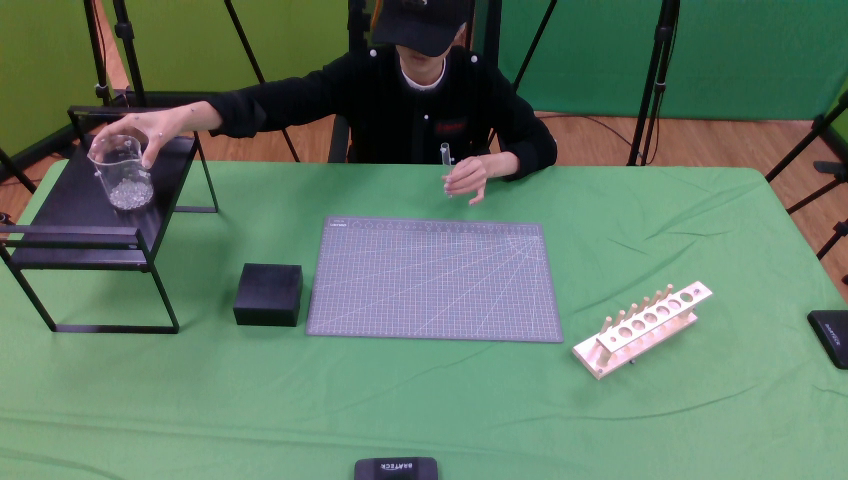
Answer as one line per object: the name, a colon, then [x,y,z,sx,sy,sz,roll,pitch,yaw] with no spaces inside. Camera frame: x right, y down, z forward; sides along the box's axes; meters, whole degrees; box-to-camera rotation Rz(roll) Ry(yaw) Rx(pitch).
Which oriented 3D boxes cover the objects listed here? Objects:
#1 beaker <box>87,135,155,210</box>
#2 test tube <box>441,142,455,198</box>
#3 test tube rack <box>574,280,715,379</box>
beaker: [-0.471,-0.103,0.958,0.084,0.101,0.073,14,47,9]
test tube: [0.048,-0.132,1.173,0.017,0.151,0.017,-3,54,5]
test tube rack: [0.378,0.140,1.038,0.242,0.085,0.066,-22,51,-23]
